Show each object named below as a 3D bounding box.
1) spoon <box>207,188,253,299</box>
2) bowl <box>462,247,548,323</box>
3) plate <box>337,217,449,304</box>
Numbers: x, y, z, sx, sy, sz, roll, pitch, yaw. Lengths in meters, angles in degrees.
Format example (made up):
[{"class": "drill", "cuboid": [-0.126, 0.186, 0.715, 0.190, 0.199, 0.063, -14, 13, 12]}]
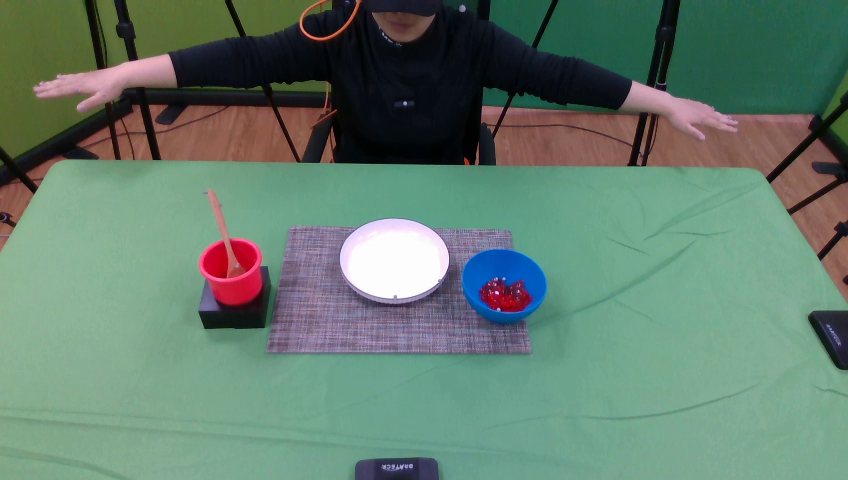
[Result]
[{"class": "spoon", "cuboid": [-0.328, 0.005, 1.013, 0.042, 0.021, 0.193, -16, 94, -19]}, {"class": "bowl", "cuboid": [0.138, 0.093, 1.072, 0.151, 0.077, 0.150, 2, 46, -2]}, {"class": "plate", "cuboid": [-0.058, 0.042, 1.136, 0.208, 0.039, 0.206, 2, 46, -2]}]
